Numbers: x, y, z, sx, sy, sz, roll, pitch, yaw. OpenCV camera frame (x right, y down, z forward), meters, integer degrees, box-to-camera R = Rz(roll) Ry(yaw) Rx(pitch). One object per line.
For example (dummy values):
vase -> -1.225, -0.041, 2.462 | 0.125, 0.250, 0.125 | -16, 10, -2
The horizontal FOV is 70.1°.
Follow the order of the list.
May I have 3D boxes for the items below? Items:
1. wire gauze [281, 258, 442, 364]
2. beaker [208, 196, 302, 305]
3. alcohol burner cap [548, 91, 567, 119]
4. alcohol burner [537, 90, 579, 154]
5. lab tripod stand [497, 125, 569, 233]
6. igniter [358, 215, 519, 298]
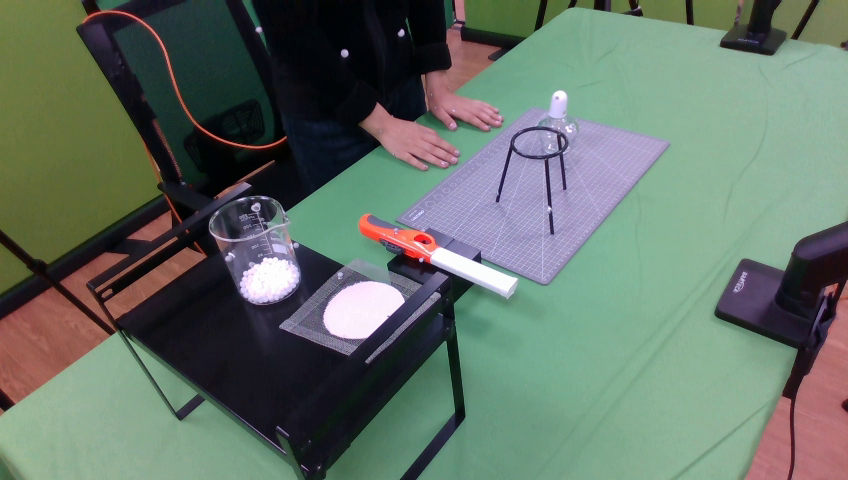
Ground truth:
wire gauze -> -0.065, 0.071, 0.633 | 0.120, 0.011, 0.125 | 19, 45, 31
beaker -> -0.173, 0.014, 0.647 | 0.084, 0.101, 0.073 | -1, 41, 8
alcohol burner cap -> 0.245, -0.247, 1.098 | 0.034, 0.048, 0.033 | -1, 46, 1
alcohol burner -> 0.248, -0.220, 1.121 | 0.078, 0.119, 0.077 | -5, 39, 5
lab tripod stand -> 0.189, -0.104, 0.979 | 0.148, 0.132, 0.147 | -3, 41, 3
igniter -> 0.009, 0.018, 0.876 | 0.274, 0.025, 0.057 | 23, 46, 28
